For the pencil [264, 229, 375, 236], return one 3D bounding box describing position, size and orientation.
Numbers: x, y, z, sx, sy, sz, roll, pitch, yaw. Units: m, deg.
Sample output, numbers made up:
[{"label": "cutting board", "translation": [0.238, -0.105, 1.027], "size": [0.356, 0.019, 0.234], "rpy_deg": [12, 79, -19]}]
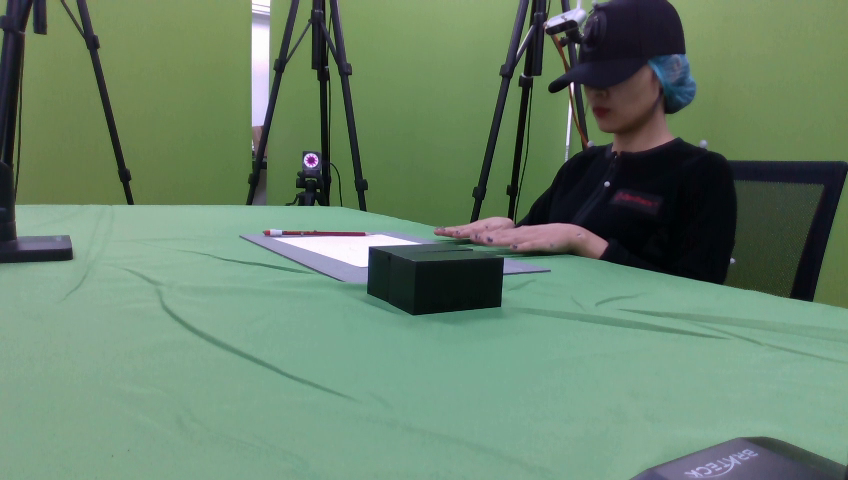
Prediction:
[{"label": "pencil", "translation": [-0.180, -0.011, 1.058], "size": [0.195, 0.012, 0.012], "rpy_deg": [1, 7, -21]}]
